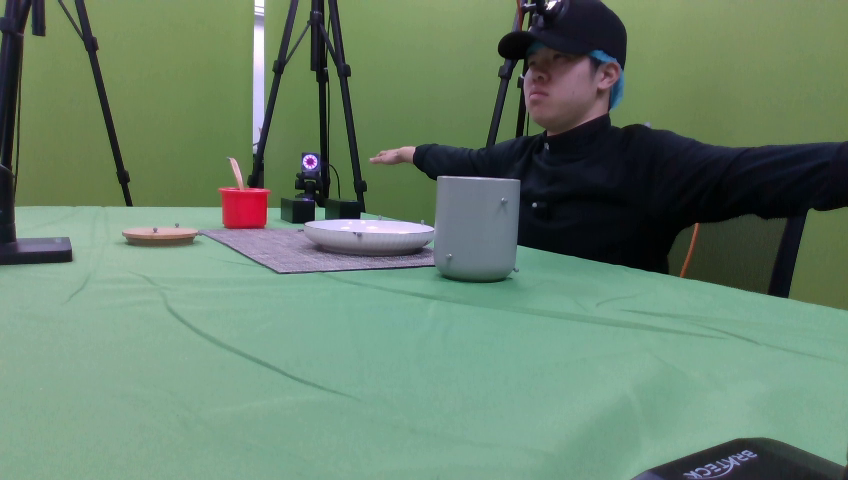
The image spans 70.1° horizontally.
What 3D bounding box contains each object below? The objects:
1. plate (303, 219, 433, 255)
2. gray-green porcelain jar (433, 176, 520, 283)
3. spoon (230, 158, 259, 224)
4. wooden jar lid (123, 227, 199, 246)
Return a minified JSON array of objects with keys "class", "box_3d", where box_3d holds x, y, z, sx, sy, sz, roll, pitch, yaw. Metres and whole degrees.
[{"class":"plate","box_3d":[-0.084,-0.005,0.952,0.208,0.039,0.207,3,7,0]},{"class":"gray-green porcelain jar","box_3d":[0.064,-0.015,0.759,0.106,0.126,0.106,2,7,0]},{"class":"spoon","box_3d":[-0.366,-0.101,1.215,0.042,0.021,0.193,-1,52,-30]},{"class":"wooden jar lid","box_3d":[-0.408,-0.006,0.942,0.108,0.020,0.108,3,6,0]}]
